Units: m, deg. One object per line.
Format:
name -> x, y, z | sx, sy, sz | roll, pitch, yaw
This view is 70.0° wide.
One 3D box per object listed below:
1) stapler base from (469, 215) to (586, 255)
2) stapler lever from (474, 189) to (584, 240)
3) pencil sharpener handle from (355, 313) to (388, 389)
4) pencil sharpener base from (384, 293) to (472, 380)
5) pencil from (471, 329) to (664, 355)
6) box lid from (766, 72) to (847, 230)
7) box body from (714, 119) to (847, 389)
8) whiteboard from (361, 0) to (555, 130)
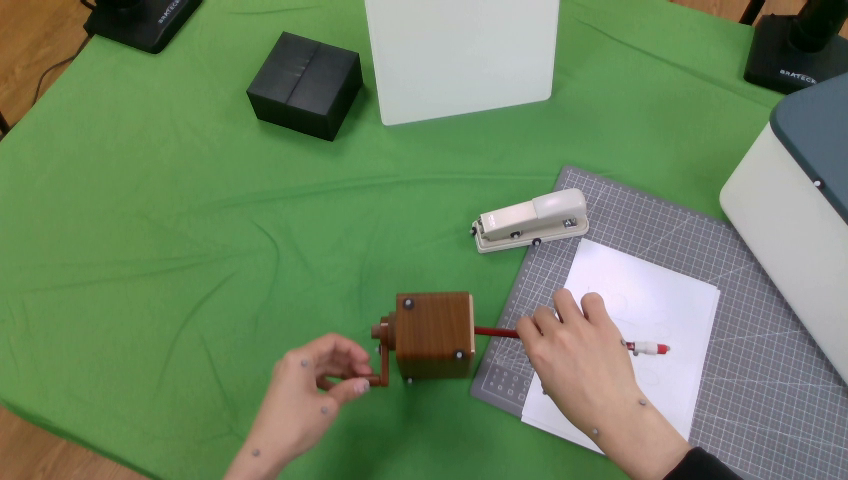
stapler base -> 0.117, -0.017, 0.676 | 0.130, 0.024, 0.041 | -11, 60, -2
stapler lever -> 0.114, -0.027, 0.654 | 0.118, 0.040, 0.026 | -11, 60, -2
pencil sharpener handle -> -0.047, 0.100, 0.547 | 0.030, 0.036, 0.067 | -2, 82, 0
pencil sharpener base -> 0.004, 0.094, 0.576 | 0.077, 0.108, 0.061 | -2, 68, 0
pencil -> 0.117, 0.090, 0.546 | 0.194, 0.012, 0.012 | 5, 64, 2
box lid -> 0.500, -0.019, 0.522 | 0.263, 0.015, 0.368 | -21, 67, -11
box body -> 0.501, 0.015, 0.588 | 0.254, 0.161, 0.361 | -21, 66, -11
whiteboard -> 0.029, -0.310, 0.697 | 0.217, 0.308, 0.142 | -10, 45, -4
